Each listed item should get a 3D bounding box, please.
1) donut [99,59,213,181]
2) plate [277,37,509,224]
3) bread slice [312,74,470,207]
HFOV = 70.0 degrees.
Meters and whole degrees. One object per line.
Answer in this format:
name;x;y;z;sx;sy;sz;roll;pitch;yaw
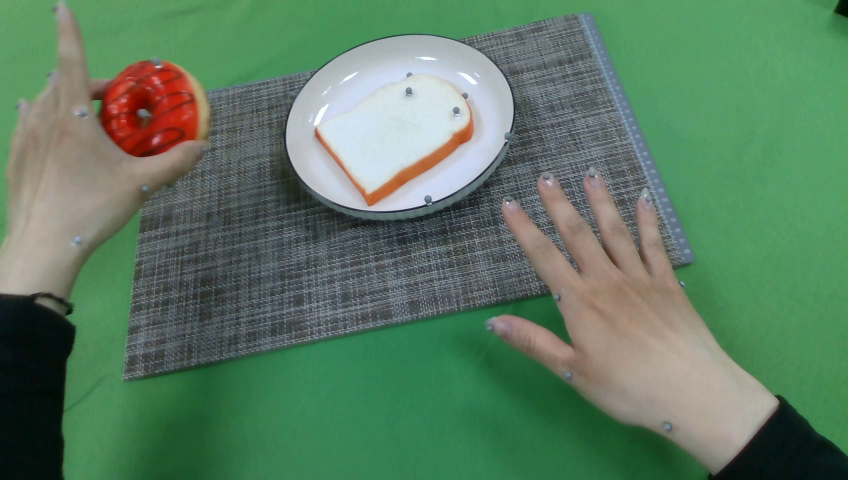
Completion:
donut;-0.213;-0.094;0.479;0.099;0.048;0.099;-2;84;17
plate;-0.027;-0.098;0.550;0.207;0.039;0.206;-4;59;7
bread slice;-0.027;-0.101;0.554;0.131;0.019;0.104;-34;61;-11
